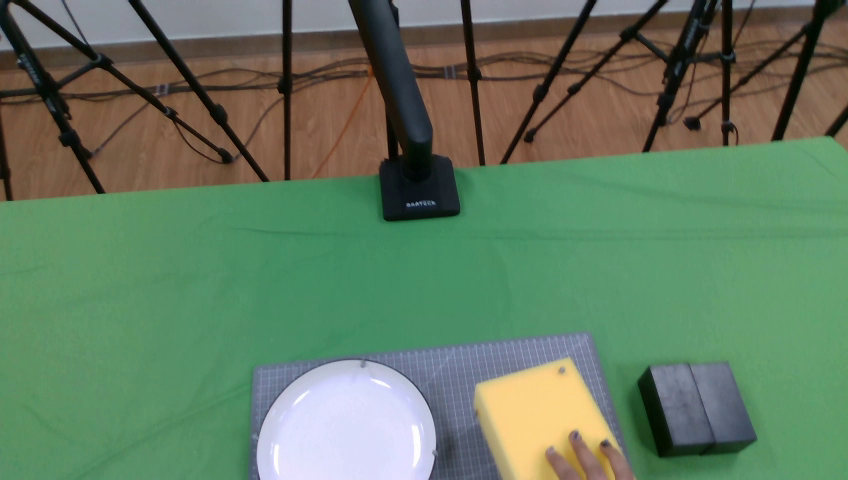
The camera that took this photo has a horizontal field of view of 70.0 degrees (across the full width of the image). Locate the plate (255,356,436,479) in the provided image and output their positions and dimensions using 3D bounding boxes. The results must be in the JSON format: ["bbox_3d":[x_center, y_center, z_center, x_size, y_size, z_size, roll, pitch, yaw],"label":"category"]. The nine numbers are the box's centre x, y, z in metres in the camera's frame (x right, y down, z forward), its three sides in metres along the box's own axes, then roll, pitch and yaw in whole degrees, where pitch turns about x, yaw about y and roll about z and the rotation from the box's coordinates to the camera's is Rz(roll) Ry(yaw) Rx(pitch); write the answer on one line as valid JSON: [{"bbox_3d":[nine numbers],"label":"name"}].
[{"bbox_3d":[-0.089,0.239,0.714,0.209,0.038,0.207,1,55,-1],"label":"plate"}]

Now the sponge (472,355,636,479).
[{"bbox_3d":[0.144,0.238,0.651,0.118,0.061,0.204,-15,52,-12],"label":"sponge"}]
